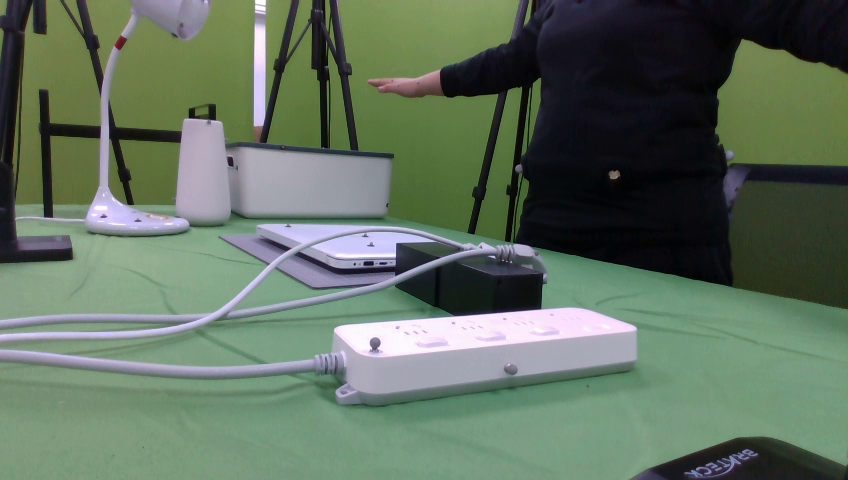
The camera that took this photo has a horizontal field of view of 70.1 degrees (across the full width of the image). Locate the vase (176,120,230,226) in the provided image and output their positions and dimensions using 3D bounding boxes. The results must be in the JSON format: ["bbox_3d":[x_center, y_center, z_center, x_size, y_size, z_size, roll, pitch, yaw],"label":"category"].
[{"bbox_3d":[-0.425,-0.128,1.159,0.098,0.200,0.098,2,9,0],"label":"vase"}]

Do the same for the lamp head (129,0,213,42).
[{"bbox_3d":[-0.423,-0.394,0.980,0.123,0.112,0.112,20,7,-3],"label":"lamp head"}]

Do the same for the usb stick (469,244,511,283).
[{"bbox_3d":[0.080,0.029,0.674,0.059,0.021,0.027,28,27,-30],"label":"usb stick"}]

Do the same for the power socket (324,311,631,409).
[{"bbox_3d":[0.042,0.075,0.411,0.228,0.032,0.072,-1,8,-25],"label":"power socket"}]

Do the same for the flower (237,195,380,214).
[{"bbox_3d":[-0.284,-0.080,1.481,0.361,0.038,0.044,5,34,7],"label":"flower"}]

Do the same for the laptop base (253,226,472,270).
[{"bbox_3d":[-0.096,0.011,0.912,0.237,0.023,0.352,3,6,-32],"label":"laptop base"}]

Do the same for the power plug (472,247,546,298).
[{"bbox_3d":[0.081,0.030,0.584,0.072,0.052,0.035,11,28,8],"label":"power plug"}]

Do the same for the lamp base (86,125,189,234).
[{"bbox_3d":[-0.497,-0.105,1.027,0.179,0.180,0.160,1,7,3],"label":"lamp base"}]

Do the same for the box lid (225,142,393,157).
[{"bbox_3d":[-0.286,-0.217,1.464,0.373,0.015,0.262,-1,7,-28],"label":"box lid"}]

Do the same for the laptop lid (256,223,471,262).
[{"bbox_3d":[-0.092,0.000,0.912,0.243,0.013,0.355,1,7,-30],"label":"laptop lid"}]

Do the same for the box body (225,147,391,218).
[{"bbox_3d":[-0.289,-0.143,1.475,0.366,0.160,0.253,-1,9,-29],"label":"box body"}]
